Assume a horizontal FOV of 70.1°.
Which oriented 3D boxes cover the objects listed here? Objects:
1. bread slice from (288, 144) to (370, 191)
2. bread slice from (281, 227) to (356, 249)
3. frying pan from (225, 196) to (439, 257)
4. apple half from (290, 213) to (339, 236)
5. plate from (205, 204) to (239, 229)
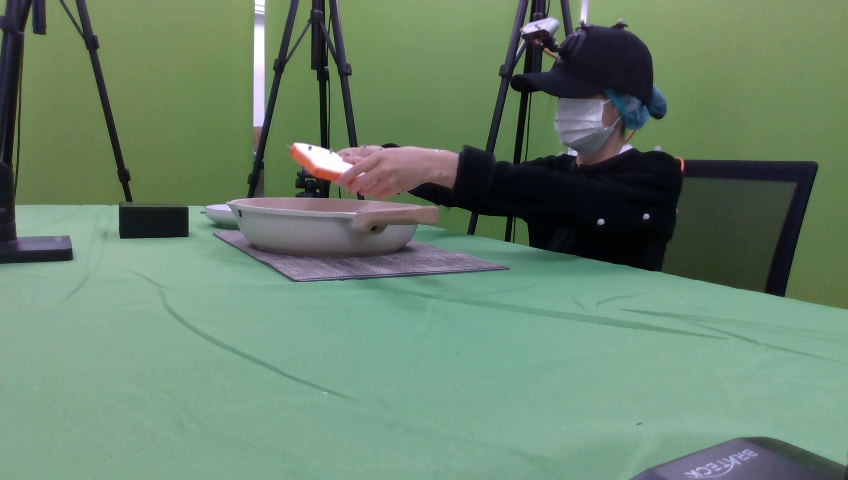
[{"bbox_3d":[-0.155,-0.117,0.945,0.105,0.019,0.131,9,23,-39],"label":"bread slice"},{"bbox_3d":[-0.170,-0.004,0.943,0.107,0.018,0.134,1,8,-16],"label":"bread slice"},{"bbox_3d":[-0.103,-0.027,0.845,0.308,0.102,0.486,-2,0,-25],"label":"frying pan"},{"bbox_3d":[-0.169,-0.026,0.936,0.081,0.033,0.081,3,9,0],"label":"apple half"},{"bbox_3d":[-0.324,-0.046,1.199,0.208,0.039,0.207,3,7,0],"label":"plate"}]
